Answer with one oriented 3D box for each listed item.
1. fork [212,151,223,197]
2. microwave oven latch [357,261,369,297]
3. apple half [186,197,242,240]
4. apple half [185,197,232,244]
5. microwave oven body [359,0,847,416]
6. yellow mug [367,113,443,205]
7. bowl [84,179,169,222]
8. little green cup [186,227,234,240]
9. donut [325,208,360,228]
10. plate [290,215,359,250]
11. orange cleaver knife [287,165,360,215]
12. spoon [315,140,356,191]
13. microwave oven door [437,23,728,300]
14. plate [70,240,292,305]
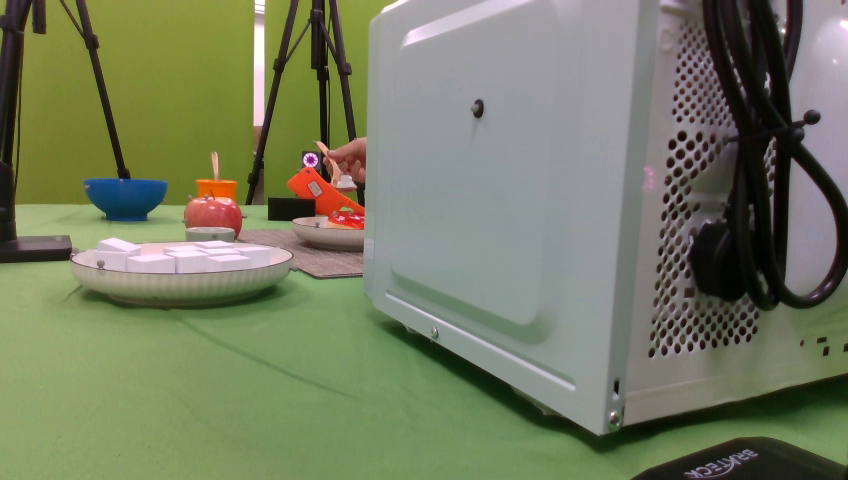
[{"bbox_3d":[-0.494,-0.143,1.442,0.028,0.018,0.206,-2,52,-20],"label":"fork"},{"bbox_3d":[-0.019,0.033,0.531,0.079,0.029,0.030,-1,7,-27],"label":"microwave oven latch"},{"bbox_3d":[-0.306,-0.026,0.904,0.053,0.074,0.081,14,9,37],"label":"apple half"},{"bbox_3d":[-0.337,-0.031,0.927,0.032,0.081,0.082,13,12,37],"label":"apple half"},{"bbox_3d":[0.211,-0.047,0.474,0.444,0.260,0.324,-1,7,-28],"label":"microwave oven body"},{"bbox_3d":[-0.026,-0.124,0.901,0.100,0.131,0.063,-19,34,-41],"label":"yellow mug"},{"bbox_3d":[-0.584,-0.078,1.194,0.151,0.077,0.151,3,8,0],"label":"bowl"},{"bbox_3d":[-0.285,0.005,0.805,0.061,0.038,0.061,2,8,0],"label":"little green cup"},{"bbox_3d":[-0.110,-0.025,0.973,0.099,0.048,0.099,4,8,0],"label":"donut"},{"bbox_3d":[-0.110,-0.013,0.973,0.209,0.038,0.209,3,8,0],"label":"plate"},{"bbox_3d":[-0.211,-0.093,1.382,0.212,0.077,0.012,33,1,-15],"label":"orange cleaver knife"},{"bbox_3d":[-0.159,-0.132,1.045,0.042,0.021,0.193,-5,38,-23],"label":"spoon"},{"bbox_3d":[0.181,-0.072,0.621,0.358,0.243,0.039,-2,8,-29],"label":"microwave oven door"},{"bbox_3d":[-0.242,0.031,0.618,0.208,0.039,0.207,2,8,0],"label":"plate"}]
